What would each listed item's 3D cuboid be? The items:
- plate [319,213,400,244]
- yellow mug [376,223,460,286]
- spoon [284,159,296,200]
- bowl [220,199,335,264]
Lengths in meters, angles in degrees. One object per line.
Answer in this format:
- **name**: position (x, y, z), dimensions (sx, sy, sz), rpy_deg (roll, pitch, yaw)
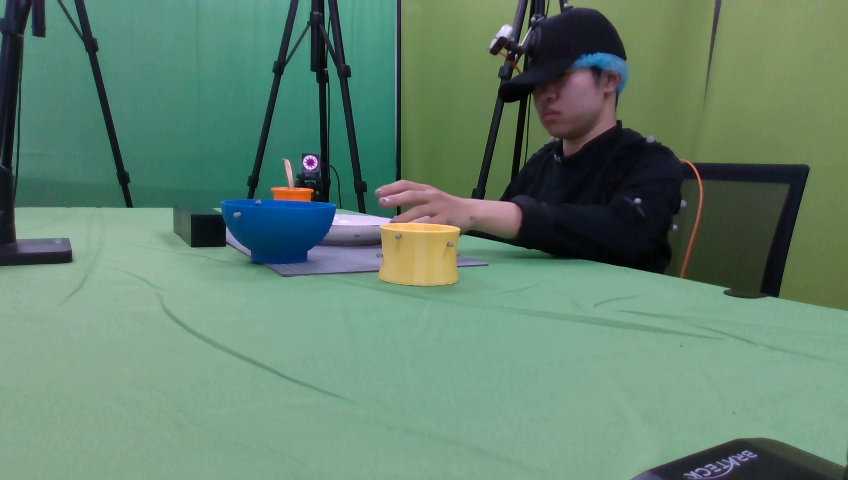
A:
- **plate**: position (-0.147, -0.020, 1.060), dimensions (0.209, 0.038, 0.209), rpy_deg (3, 7, 0)
- **yellow mug**: position (-0.002, 0.014, 0.754), dimensions (0.099, 0.064, 0.131), rpy_deg (5, 7, 20)
- **spoon**: position (-0.302, -0.118, 1.370), dimensions (0.042, 0.193, 0.021), rpy_deg (4, -39, -24)
- **bowl**: position (-0.197, -0.012, 0.819), dimensions (0.151, 0.077, 0.151), rpy_deg (3, 8, 0)
